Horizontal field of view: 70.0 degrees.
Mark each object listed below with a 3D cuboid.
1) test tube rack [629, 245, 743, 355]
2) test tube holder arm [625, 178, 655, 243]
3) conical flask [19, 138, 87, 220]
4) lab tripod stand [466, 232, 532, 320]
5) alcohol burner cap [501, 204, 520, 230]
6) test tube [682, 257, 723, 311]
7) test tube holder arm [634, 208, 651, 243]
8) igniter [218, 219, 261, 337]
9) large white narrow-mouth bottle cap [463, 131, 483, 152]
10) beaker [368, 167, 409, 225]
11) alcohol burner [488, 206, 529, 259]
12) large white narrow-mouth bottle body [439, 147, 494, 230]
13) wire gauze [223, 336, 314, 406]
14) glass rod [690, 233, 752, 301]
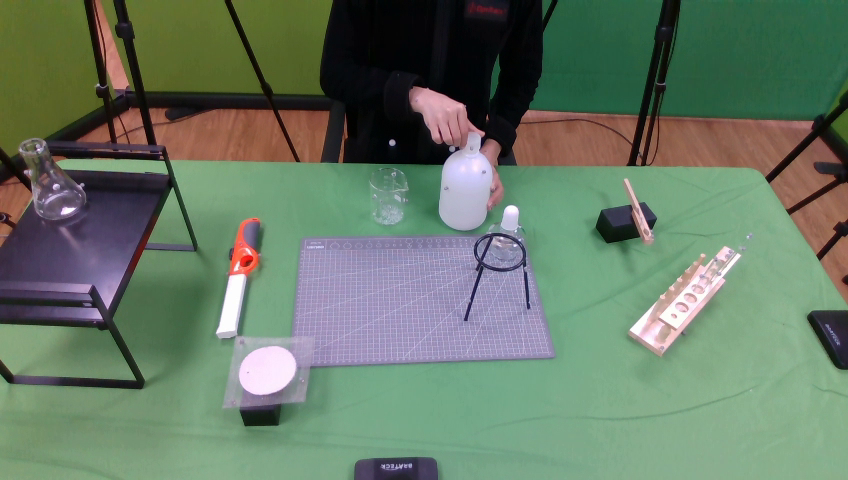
[{"bbox_3d":[0.474,0.095,1.091,0.242,0.085,0.066,-34,56,-31],"label":"test tube rack"},{"bbox_3d":[0.433,-0.062,1.220,0.013,0.015,0.177,1,47,-3],"label":"test tube holder arm"},{"bbox_3d":[-0.576,-0.097,0.930,0.075,0.122,0.075,2,46,-2],"label":"conical flask"},{"bbox_3d":[0.125,0.059,1.065,0.148,0.132,0.147,1,45,0],"label":"lab tripod stand"},{"bbox_3d":[0.164,-0.046,1.133,0.034,0.048,0.033,2,40,-2],"label":"alcohol burner cap"},{"bbox_3d":[0.475,0.080,1.037,0.017,0.151,0.017,1,51,-1],"label":"test tube"},{"bbox_3d":[0.428,-0.030,1.189,0.010,0.015,0.087,2,47,-2],"label":"test tube holder arm"},{"bbox_3d":[-0.336,0.060,1.111,0.057,0.025,0.274,-8,46,3],"label":"igniter"},{"bbox_3d":[0.091,-0.184,1.126,0.038,0.024,0.037,2,46,-2],"label":"large white narrow-mouth bottle cap"},{"bbox_3d":[-0.070,-0.085,1.220,0.084,0.101,0.074,21,49,15],"label":"beaker"},{"bbox_3d":[0.163,-0.020,1.158,0.078,0.120,0.077,0,47,0],"label":"alcohol burner"},{"bbox_3d":[0.085,-0.118,1.196,0.102,0.195,0.101,2,46,-2],"label":"large white narrow-mouth bottle body"},{"bbox_3d":[-0.237,0.197,0.931,0.121,0.011,0.124,1,45,-4],"label":"wire gauze"},{"bbox_3d":[0.507,0.053,1.041,0.008,0.200,0.008,5,51,-6],"label":"glass rod"}]
